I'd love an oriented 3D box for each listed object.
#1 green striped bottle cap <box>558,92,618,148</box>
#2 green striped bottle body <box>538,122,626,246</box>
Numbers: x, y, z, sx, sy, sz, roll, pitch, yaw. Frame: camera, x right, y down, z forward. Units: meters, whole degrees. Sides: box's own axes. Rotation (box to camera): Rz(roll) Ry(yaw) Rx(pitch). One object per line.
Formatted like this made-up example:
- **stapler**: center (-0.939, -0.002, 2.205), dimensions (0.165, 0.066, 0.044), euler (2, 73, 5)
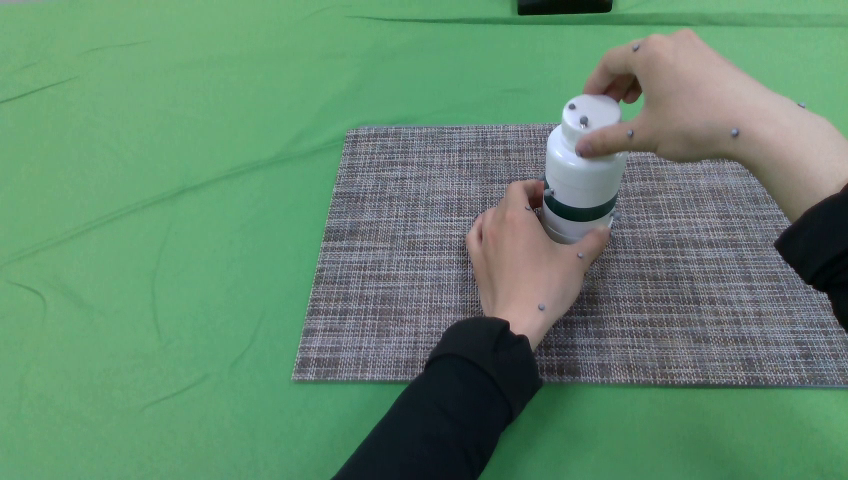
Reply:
- **green striped bottle cap**: center (0.125, -0.092, 0.461), dimensions (0.044, 0.020, 0.044), euler (-3, 54, 4)
- **green striped bottle body**: center (0.129, -0.055, 0.502), dimensions (0.063, 0.120, 0.062), euler (-3, 50, 4)
